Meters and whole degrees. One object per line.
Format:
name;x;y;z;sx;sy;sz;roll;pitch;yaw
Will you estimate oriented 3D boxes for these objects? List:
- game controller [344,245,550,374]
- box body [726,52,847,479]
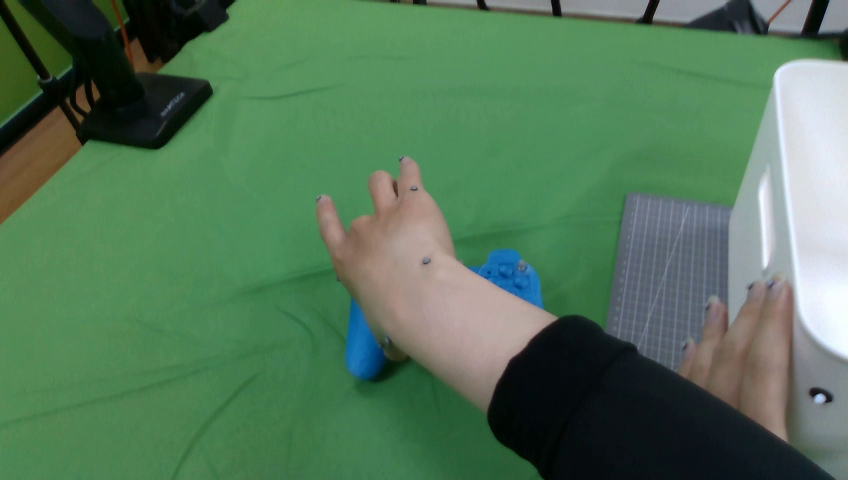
game controller;0.017;0.049;0.463;0.155;0.052;0.096;-1;57;1
box body;0.387;0.039;0.365;0.363;0.162;0.252;10;51;15
